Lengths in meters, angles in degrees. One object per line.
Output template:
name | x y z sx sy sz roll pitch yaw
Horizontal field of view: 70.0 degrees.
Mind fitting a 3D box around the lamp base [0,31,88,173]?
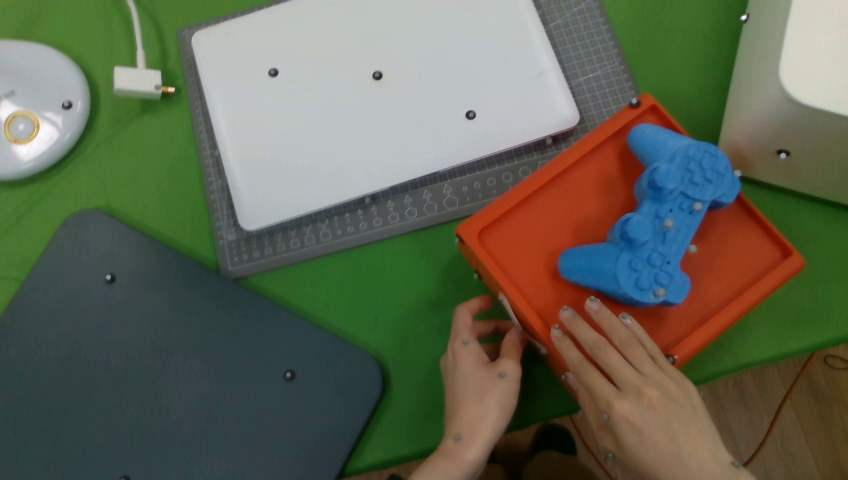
lamp base | -0.451 -0.175 0.572 0.160 0.181 0.178 -43 74 -8

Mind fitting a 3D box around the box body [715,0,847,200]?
box body | 0.434 -0.216 0.534 0.253 0.161 0.362 17 77 8

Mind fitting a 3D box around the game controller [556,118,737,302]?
game controller | 0.183 -0.023 0.488 0.097 0.052 0.155 30 81 6

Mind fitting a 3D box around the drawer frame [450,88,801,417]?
drawer frame | 0.165 0.009 0.533 0.213 0.083 0.200 -36 76 -6

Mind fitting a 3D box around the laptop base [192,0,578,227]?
laptop base | -0.046 -0.171 0.628 0.354 0.023 0.234 -18 78 -1

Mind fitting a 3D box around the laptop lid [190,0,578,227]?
laptop lid | -0.047 -0.171 0.616 0.357 0.013 0.240 -17 77 0

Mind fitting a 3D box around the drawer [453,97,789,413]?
drawer | 0.165 0.011 0.535 0.212 0.073 0.193 -36 76 -6

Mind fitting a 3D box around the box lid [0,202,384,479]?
box lid | -0.250 0.143 0.564 0.370 0.015 0.262 26 79 9

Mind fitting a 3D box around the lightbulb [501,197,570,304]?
lightbulb | 0.107 0.007 0.546 0.059 0.060 0.107 19 65 9

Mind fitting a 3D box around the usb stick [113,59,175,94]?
usb stick | -0.292 -0.169 0.632 0.059 0.021 0.027 3 77 -30
